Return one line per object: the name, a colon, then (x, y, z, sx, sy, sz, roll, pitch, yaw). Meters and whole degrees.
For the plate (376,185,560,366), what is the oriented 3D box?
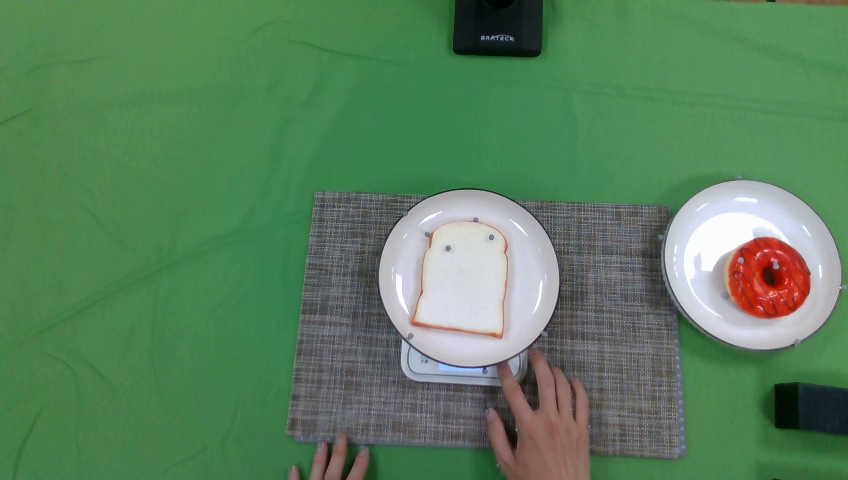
plate: (0.050, 0.040, 0.696, 0.209, 0.038, 0.208, 0, 76, 1)

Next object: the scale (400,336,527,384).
scale: (0.050, 0.066, 0.723, 0.148, 0.032, 0.200, 3, 76, 2)

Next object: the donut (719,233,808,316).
donut: (0.397, 0.041, 0.710, 0.099, 0.048, 0.098, 0, 79, 0)

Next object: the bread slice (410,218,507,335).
bread slice: (0.044, 0.038, 0.698, 0.105, 0.019, 0.131, 7, 76, 2)

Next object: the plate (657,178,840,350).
plate: (0.381, 0.028, 0.726, 0.208, 0.039, 0.206, 0, 75, 1)
